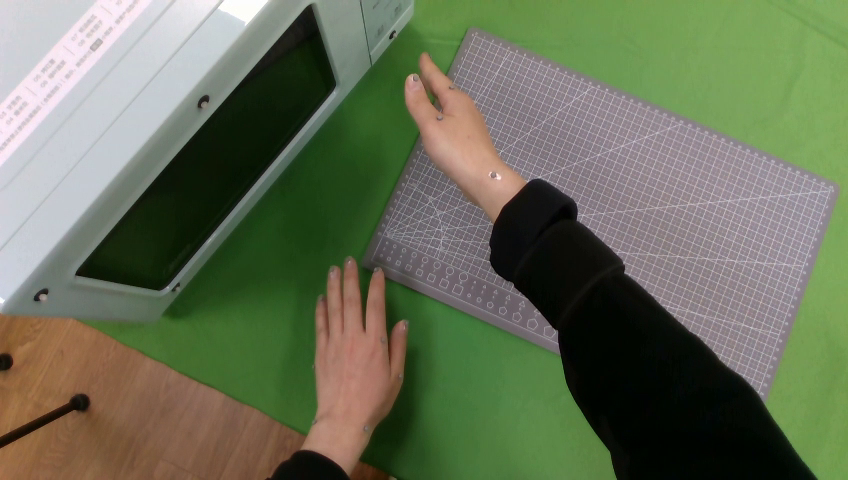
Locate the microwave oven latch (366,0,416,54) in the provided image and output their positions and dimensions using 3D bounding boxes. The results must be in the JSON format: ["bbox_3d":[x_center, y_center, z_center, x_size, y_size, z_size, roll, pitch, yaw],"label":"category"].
[{"bbox_3d":[-0.041,-0.240,0.651,0.030,0.029,0.079,40,84,4],"label":"microwave oven latch"}]

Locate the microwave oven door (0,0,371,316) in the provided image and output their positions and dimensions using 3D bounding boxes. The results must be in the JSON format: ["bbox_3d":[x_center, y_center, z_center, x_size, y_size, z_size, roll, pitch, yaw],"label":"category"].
[{"bbox_3d":[-0.178,-0.085,0.524,0.039,0.244,0.355,38,83,5],"label":"microwave oven door"}]

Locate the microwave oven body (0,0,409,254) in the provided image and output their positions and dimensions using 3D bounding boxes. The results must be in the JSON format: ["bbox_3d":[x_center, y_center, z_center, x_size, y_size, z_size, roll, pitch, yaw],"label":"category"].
[{"bbox_3d":[-0.266,-0.207,0.544,0.325,0.260,0.441,38,84,3],"label":"microwave oven body"}]
